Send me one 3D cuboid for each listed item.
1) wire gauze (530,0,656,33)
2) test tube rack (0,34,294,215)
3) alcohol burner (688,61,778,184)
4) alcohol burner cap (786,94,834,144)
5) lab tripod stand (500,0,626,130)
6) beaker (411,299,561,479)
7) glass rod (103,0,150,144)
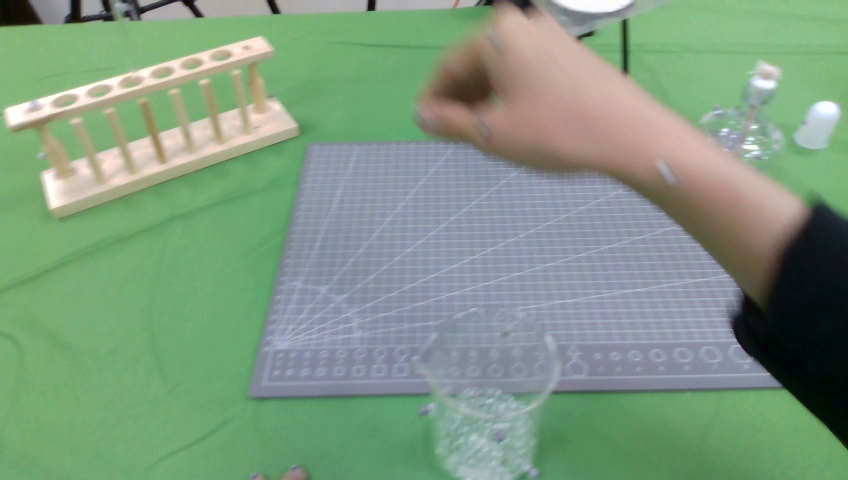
[{"bbox_3d":[0.148,-0.240,0.576,0.122,0.011,0.123,-20,49,-18],"label":"wire gauze"},{"bbox_3d":[-0.259,-0.118,0.595,0.243,0.086,0.066,-24,50,-21],"label":"test tube rack"},{"bbox_3d":[0.286,-0.110,0.551,0.078,0.120,0.077,0,48,0],"label":"alcohol burner"},{"bbox_3d":[0.396,-0.126,0.617,0.034,0.048,0.033,0,45,1],"label":"alcohol burner cap"},{"bbox_3d":[0.154,-0.194,0.626,0.148,0.132,0.147,1,46,0],"label":"lab tripod stand"},{"bbox_3d":[0.036,0.096,0.373,0.084,0.101,0.073,1,46,4],"label":"beaker"},{"bbox_3d":[-0.270,-0.164,0.547,0.008,0.201,0.008,3,46,-3],"label":"glass rod"}]
